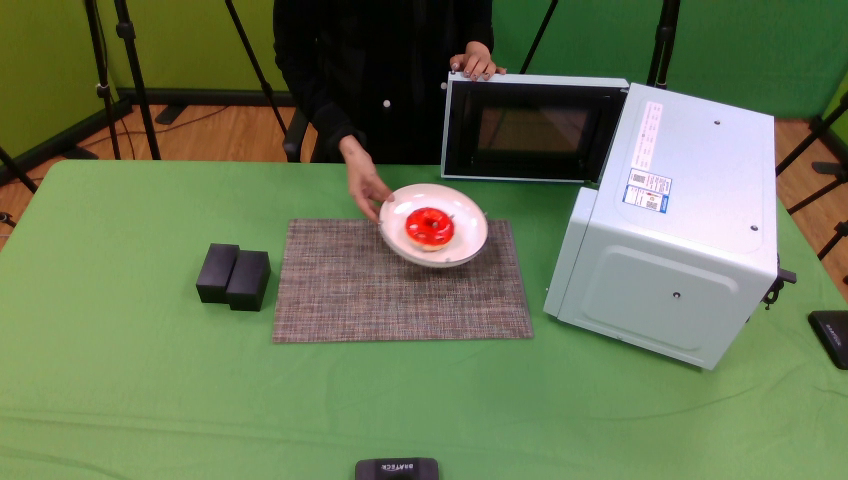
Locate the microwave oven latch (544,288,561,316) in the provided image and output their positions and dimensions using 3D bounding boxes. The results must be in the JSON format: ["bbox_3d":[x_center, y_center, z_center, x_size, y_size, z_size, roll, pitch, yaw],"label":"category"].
[{"bbox_3d":[0.237,0.098,1.087,0.030,0.029,0.079,17,47,13],"label":"microwave oven latch"}]

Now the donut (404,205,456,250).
[{"bbox_3d":[0.011,-0.024,1.128,0.099,0.048,0.098,5,48,-6],"label":"donut"}]

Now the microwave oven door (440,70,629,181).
[{"bbox_3d":[0.218,-0.232,1.260,0.356,0.245,0.039,2,46,-2],"label":"microwave oven door"}]

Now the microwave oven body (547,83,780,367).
[{"bbox_3d":[0.445,-0.041,1.101,0.325,0.261,0.440,17,47,13],"label":"microwave oven body"}]

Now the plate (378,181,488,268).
[{"bbox_3d":[0.015,-0.026,1.146,0.209,0.038,0.208,7,49,-7],"label":"plate"}]
